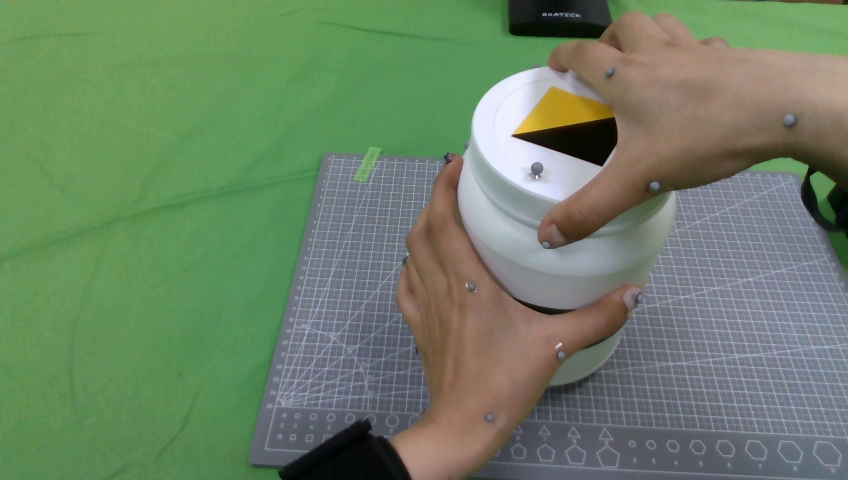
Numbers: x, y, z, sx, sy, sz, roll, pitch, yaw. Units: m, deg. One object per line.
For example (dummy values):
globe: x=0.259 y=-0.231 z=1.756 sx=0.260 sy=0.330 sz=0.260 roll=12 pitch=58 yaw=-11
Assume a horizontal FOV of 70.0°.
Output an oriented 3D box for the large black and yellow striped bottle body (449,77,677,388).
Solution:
large black and yellow striped bottle body: x=0.084 y=0.001 z=0.399 sx=0.131 sy=0.185 sz=0.129 roll=0 pitch=51 yaw=0

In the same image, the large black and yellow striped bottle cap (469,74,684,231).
large black and yellow striped bottle cap: x=0.082 y=-0.053 z=0.333 sx=0.115 sy=0.019 sz=0.114 roll=1 pitch=49 yaw=-1
